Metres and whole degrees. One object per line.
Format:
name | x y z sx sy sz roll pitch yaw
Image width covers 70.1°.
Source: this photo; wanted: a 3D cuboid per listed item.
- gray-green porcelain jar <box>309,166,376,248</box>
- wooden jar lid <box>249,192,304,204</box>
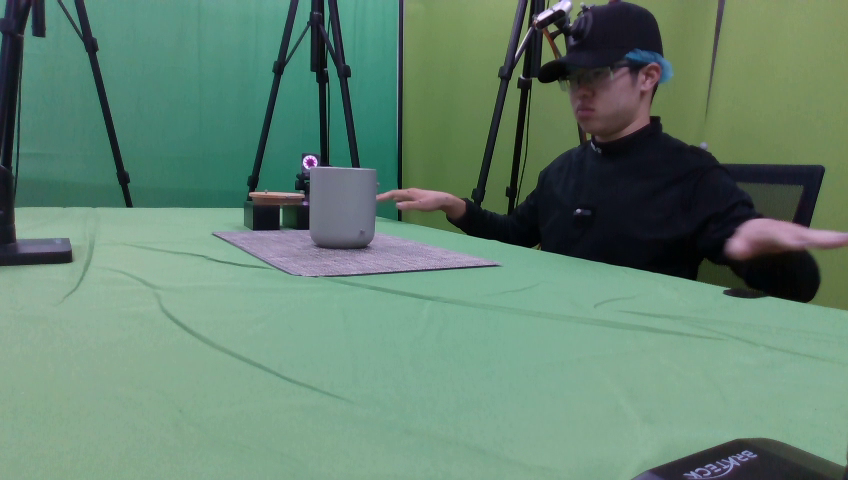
gray-green porcelain jar | -0.130 -0.054 0.966 0.106 0.126 0.106 2 7 0
wooden jar lid | -0.297 -0.086 1.220 0.108 0.020 0.108 4 7 0
